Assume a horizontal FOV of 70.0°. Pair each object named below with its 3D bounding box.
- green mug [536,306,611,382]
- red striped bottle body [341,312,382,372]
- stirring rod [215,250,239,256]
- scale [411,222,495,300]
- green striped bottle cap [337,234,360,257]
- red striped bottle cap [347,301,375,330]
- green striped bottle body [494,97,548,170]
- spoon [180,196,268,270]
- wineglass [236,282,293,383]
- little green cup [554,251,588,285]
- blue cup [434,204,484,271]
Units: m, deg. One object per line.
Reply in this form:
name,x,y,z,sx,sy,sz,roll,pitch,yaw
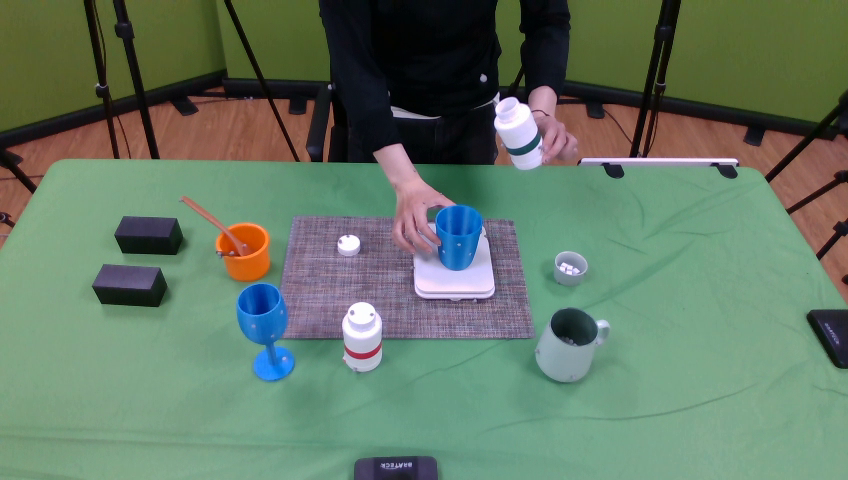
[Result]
green mug,0.250,0.167,0.996,0.125,0.105,0.092,-15,49,-18
red striped bottle body,-0.100,0.154,0.972,0.063,0.120,0.062,2,46,-2
stirring rod,-0.339,0.024,1.059,0.014,0.176,0.006,17,86,-6
scale,0.052,0.031,1.158,0.149,0.032,0.199,1,46,-4
green striped bottle cap,-0.147,0.011,1.176,0.044,0.020,0.044,3,49,-4
red striped bottle cap,-0.097,0.116,0.934,0.044,0.018,0.044,2,48,-3
green striped bottle body,0.158,-0.180,1.010,0.063,0.120,0.063,-20,42,19
spoon,-0.360,-0.014,1.094,0.021,0.194,0.041,-28,26,31
wineglass,-0.243,0.143,0.934,0.074,0.173,0.073,2,46,-2
little green cup,0.277,0.055,1.151,0.061,0.039,0.061,1,46,-1
blue cup,0.059,0.000,1.096,0.093,0.101,0.092,1,43,-1
